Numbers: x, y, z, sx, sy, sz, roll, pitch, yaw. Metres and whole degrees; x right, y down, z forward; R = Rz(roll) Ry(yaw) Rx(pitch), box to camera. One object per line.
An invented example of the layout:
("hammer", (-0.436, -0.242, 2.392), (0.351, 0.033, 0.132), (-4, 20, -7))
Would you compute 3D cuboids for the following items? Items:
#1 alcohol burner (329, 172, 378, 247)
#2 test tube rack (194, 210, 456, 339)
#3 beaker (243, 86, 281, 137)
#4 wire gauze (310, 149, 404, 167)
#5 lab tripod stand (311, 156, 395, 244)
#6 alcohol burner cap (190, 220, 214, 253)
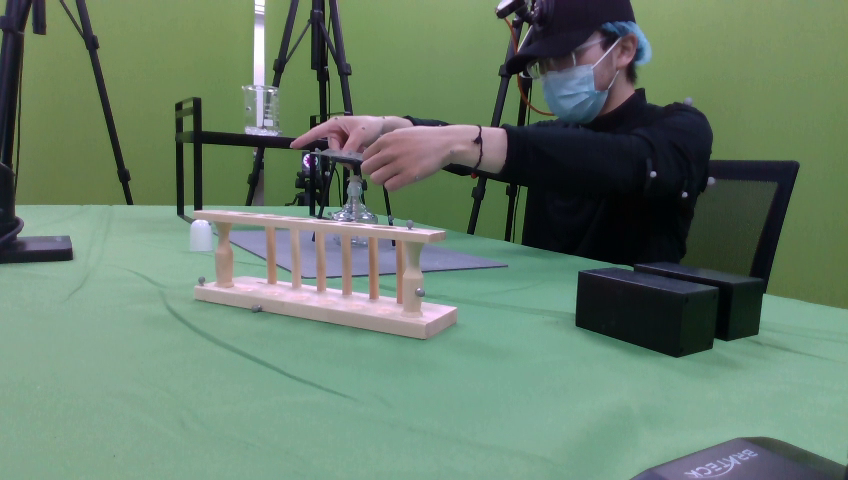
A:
("alcohol burner", (-0.113, -0.049, 0.972), (0.078, 0.119, 0.078), (1, 9, 0))
("test tube rack", (-0.093, 0.023, 0.545), (0.241, 0.085, 0.067), (6, 8, 25))
("beaker", (-0.338, -0.265, 1.252), (0.073, 0.100, 0.084), (8, 10, 38))
("wire gauze", (-0.108, -0.131, 0.957), (0.125, 0.011, 0.121), (6, 6, -22))
("lab tripod stand", (-0.109, -0.064, 0.970), (0.148, 0.131, 0.148), (6, 7, 0))
("alcohol burner cap", (-0.321, -0.006, 0.875), (0.034, 0.048, 0.034), (4, 8, 0))
